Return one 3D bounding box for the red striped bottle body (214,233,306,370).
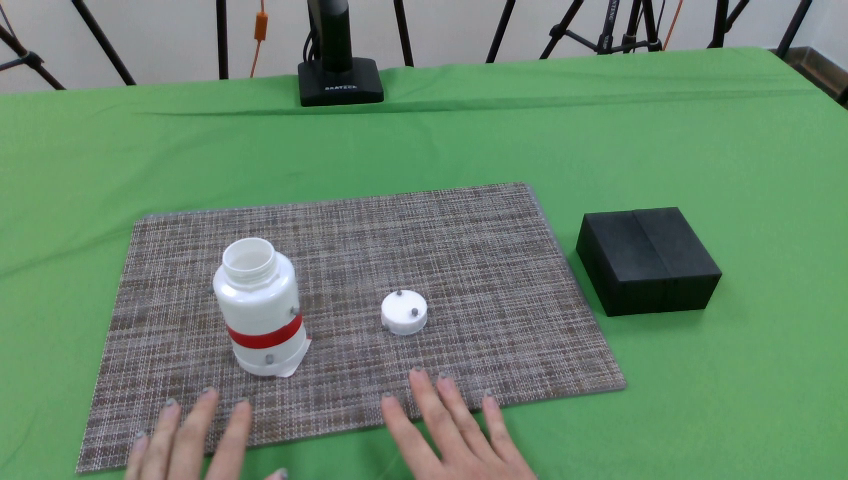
[{"bbox_3d":[-0.136,0.050,0.506,0.063,0.121,0.062,1,44,-1],"label":"red striped bottle body"}]

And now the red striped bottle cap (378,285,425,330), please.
[{"bbox_3d":[-0.021,0.063,0.573,0.044,0.018,0.044,6,41,-5],"label":"red striped bottle cap"}]
